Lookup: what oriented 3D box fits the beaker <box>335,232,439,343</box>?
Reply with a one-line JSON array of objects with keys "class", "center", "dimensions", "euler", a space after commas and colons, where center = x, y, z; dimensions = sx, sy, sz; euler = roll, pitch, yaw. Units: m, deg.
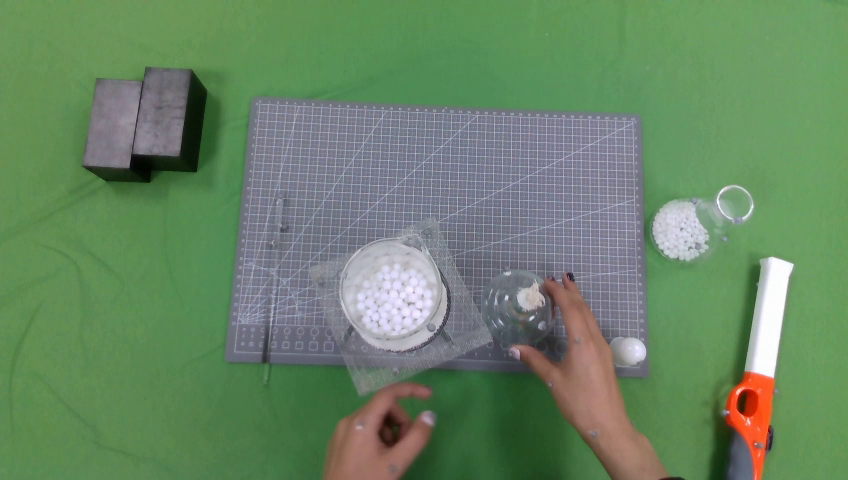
[{"class": "beaker", "center": [-0.025, 0.041, 0.479], "dimensions": [0.074, 0.100, 0.084], "euler": [24, 79, 3]}]

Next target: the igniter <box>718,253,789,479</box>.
[{"class": "igniter", "center": [0.347, 0.148, 0.639], "dimensions": [0.057, 0.025, 0.275], "euler": [18, 79, -8]}]

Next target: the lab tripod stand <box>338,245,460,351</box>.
[{"class": "lab tripod stand", "center": [-0.026, 0.067, 0.590], "dimensions": [0.148, 0.132, 0.148], "euler": [0, 80, -1]}]

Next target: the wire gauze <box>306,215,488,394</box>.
[{"class": "wire gauze", "center": [-0.023, 0.054, 0.525], "dimensions": [0.125, 0.011, 0.121], "euler": [-22, 83, -7]}]

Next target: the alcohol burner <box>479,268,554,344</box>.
[{"class": "alcohol burner", "center": [0.094, 0.063, 0.603], "dimensions": [0.078, 0.119, 0.077], "euler": [0, 77, 1]}]

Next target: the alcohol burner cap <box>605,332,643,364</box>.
[{"class": "alcohol burner cap", "center": [0.212, 0.112, 0.633], "dimensions": [0.034, 0.048, 0.033], "euler": [0, 79, -1]}]

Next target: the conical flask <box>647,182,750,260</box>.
[{"class": "conical flask", "center": [0.286, -0.025, 0.624], "dimensions": [0.075, 0.122, 0.075], "euler": [0, 78, 0]}]

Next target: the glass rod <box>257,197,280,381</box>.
[{"class": "glass rod", "center": [-0.166, 0.050, 0.653], "dimensions": [0.008, 0.008, 0.199], "euler": [3, 82, -1]}]
